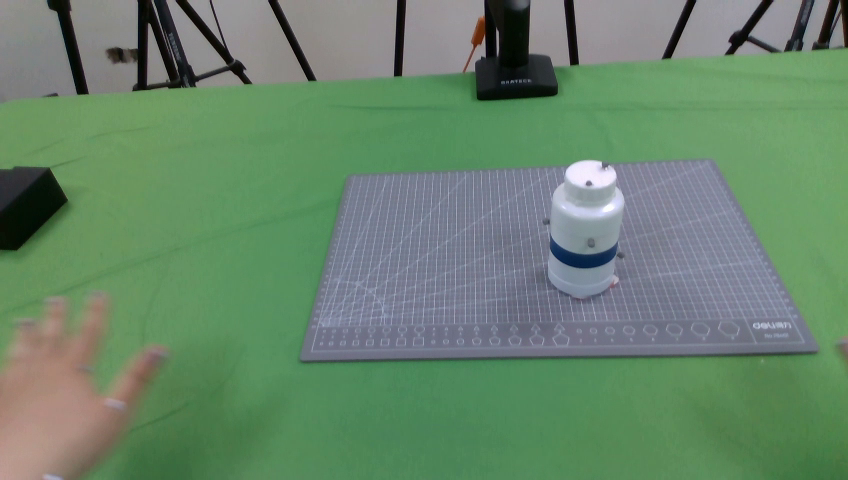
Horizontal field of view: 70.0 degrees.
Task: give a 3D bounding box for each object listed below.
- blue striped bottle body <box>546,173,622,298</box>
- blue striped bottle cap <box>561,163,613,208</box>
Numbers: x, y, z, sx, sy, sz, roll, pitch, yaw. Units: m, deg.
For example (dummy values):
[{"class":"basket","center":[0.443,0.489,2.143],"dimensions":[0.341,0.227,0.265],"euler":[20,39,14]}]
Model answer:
[{"class":"blue striped bottle body","center":[0.147,-0.009,0.561],"dimensions":[0.063,0.122,0.062],"euler":[-3,40,3]},{"class":"blue striped bottle cap","center":[0.142,-0.048,0.529],"dimensions":[0.044,0.021,0.044],"euler":[-2,40,2]}]
